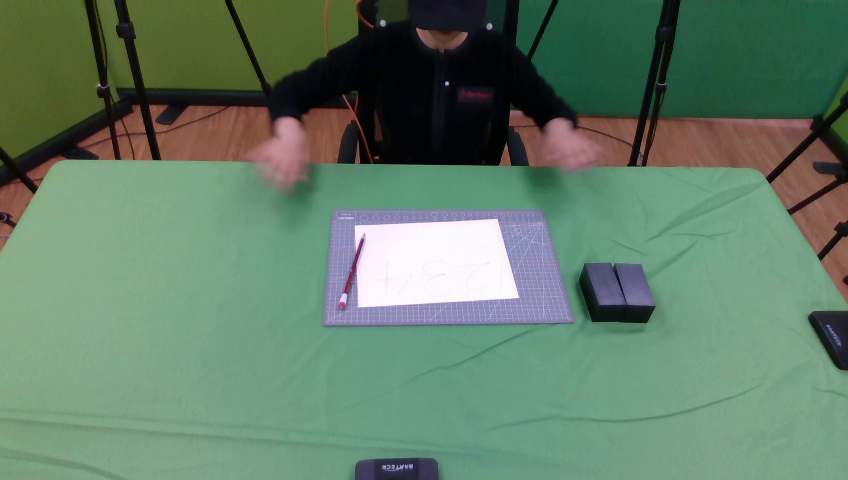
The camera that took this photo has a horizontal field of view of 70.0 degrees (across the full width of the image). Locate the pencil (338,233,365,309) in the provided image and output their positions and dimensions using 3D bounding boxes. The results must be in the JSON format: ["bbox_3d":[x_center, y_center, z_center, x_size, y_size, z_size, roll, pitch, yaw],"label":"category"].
[{"bbox_3d":[-0.134,0.053,1.142,0.012,0.012,0.193,8,45,4],"label":"pencil"}]
